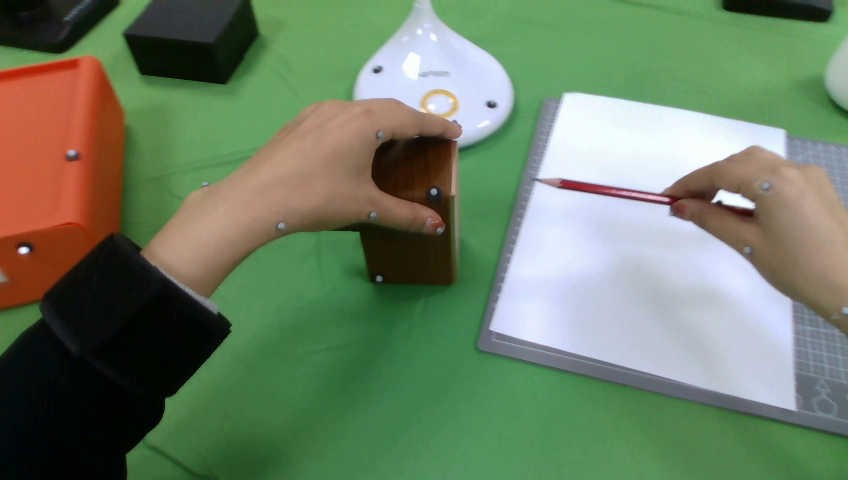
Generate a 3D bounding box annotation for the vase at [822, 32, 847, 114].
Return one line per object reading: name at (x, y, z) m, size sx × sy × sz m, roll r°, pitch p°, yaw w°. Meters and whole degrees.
vase at (0.441, -0.203, 0.534) m, size 0.098 × 0.202 × 0.097 m, roll -1°, pitch 50°, yaw 2°

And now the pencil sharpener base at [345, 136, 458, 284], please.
pencil sharpener base at (-0.013, -0.019, 0.451) m, size 0.076 × 0.108 × 0.061 m, roll 0°, pitch 52°, yaw 4°

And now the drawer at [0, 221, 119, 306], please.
drawer at (-0.358, -0.042, 0.494) m, size 0.195 × 0.074 × 0.209 m, roll -13°, pitch 51°, yaw -9°

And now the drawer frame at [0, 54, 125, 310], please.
drawer frame at (-0.361, -0.045, 0.494) m, size 0.202 × 0.083 × 0.211 m, roll -14°, pitch 52°, yaw -9°

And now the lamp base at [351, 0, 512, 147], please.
lamp base at (0.003, -0.205, 0.555) m, size 0.161 × 0.182 × 0.177 m, roll -13°, pitch 50°, yaw -9°

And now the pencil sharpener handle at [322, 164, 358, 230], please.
pencil sharpener handle at (-0.065, -0.027, 0.446) m, size 0.030 × 0.068 × 0.035 m, roll 0°, pitch 58°, yaw 4°

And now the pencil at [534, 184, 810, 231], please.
pencil at (0.170, -0.023, 0.415) m, size 0.194 × 0.012 × 0.012 m, roll 8°, pitch 51°, yaw -4°
